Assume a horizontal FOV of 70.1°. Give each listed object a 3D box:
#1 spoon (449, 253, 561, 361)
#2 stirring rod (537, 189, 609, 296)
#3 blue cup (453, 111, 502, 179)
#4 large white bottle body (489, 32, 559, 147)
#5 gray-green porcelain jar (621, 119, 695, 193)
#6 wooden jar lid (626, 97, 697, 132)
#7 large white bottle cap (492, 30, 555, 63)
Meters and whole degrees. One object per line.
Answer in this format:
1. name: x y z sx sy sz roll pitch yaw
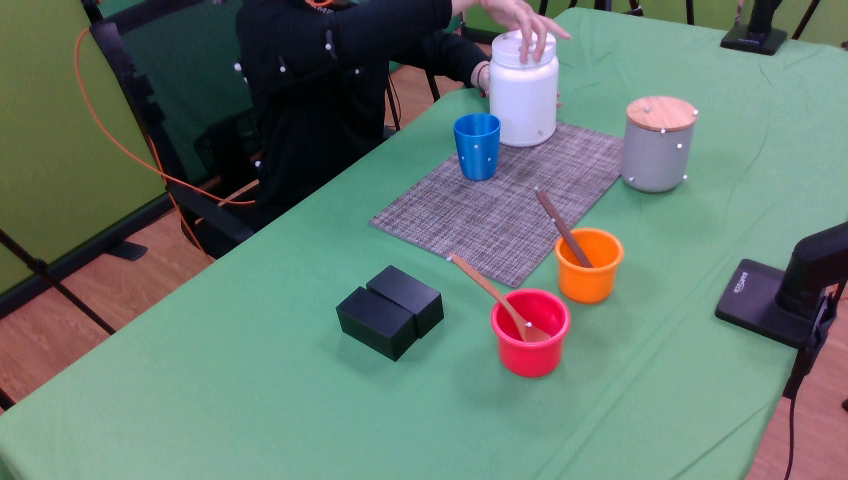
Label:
1. spoon: 0.103 0.083 0.770 0.194 0.021 0.042 47 51 -7
2. stirring rod: 0.210 0.003 0.855 0.014 0.006 0.176 -32 88 -30
3. blue cup: 0.097 -0.166 1.088 0.092 0.100 0.092 -3 41 3
4. large white bottle body: 0.189 -0.287 1.153 0.130 0.185 0.130 -4 41 4
5. gray-green porcelain jar: 0.389 -0.152 1.016 0.106 0.127 0.105 -4 40 4
6. wooden jar lid: 0.381 -0.198 0.976 0.108 0.021 0.108 -2 40 3
7. large white bottle cap: 0.180 -0.352 1.098 0.115 0.018 0.114 -3 40 3
